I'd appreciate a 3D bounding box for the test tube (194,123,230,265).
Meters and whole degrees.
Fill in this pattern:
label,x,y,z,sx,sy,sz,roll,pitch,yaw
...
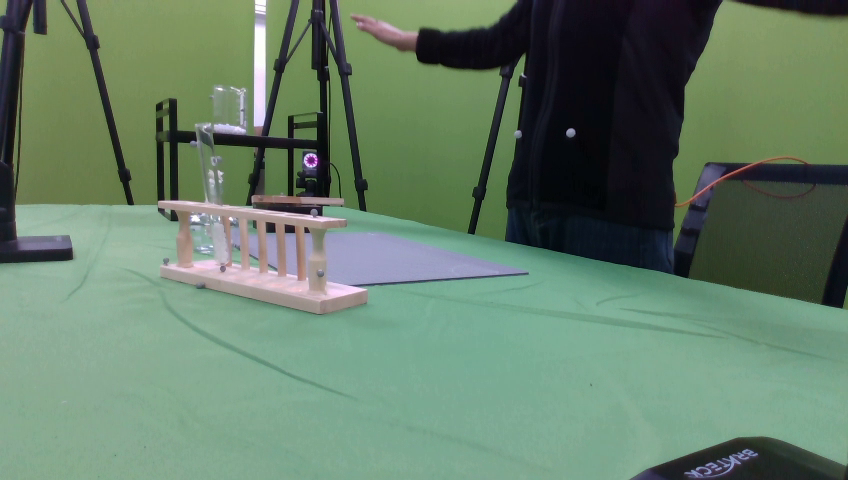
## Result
label,x,y,z,sx,sy,sz,roll,pitch,yaw
test tube,-0.218,-0.045,0.624,0.017,0.150,0.017,-2,19,1

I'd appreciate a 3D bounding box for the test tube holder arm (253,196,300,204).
label,x,y,z,sx,sy,sz,roll,pitch,yaw
test tube holder arm,-0.276,-0.075,1.135,0.088,0.015,0.010,0,7,-32

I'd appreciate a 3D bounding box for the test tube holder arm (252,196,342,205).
label,x,y,z,sx,sy,sz,roll,pitch,yaw
test tube holder arm,-0.241,-0.076,1.164,0.179,0.015,0.013,-1,7,-33

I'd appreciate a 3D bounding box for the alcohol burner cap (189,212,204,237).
label,x,y,z,sx,sy,sz,roll,pitch,yaw
alcohol burner cap,-0.389,-0.029,1.026,0.034,0.048,0.034,2,9,0

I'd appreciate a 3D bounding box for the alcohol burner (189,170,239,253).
label,x,y,z,sx,sy,sz,roll,pitch,yaw
alcohol burner,-0.303,-0.042,0.871,0.078,0.119,0.078,4,6,0

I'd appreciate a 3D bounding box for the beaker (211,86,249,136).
label,x,y,z,sx,sy,sz,roll,pitch,yaw
beaker,-0.413,-0.274,1.297,0.074,0.100,0.083,-5,11,-44

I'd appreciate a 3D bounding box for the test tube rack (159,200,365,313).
label,x,y,z,sx,sy,sz,roll,pitch,yaw
test tube rack,-0.173,0.009,0.625,0.241,0.085,0.067,7,9,34
